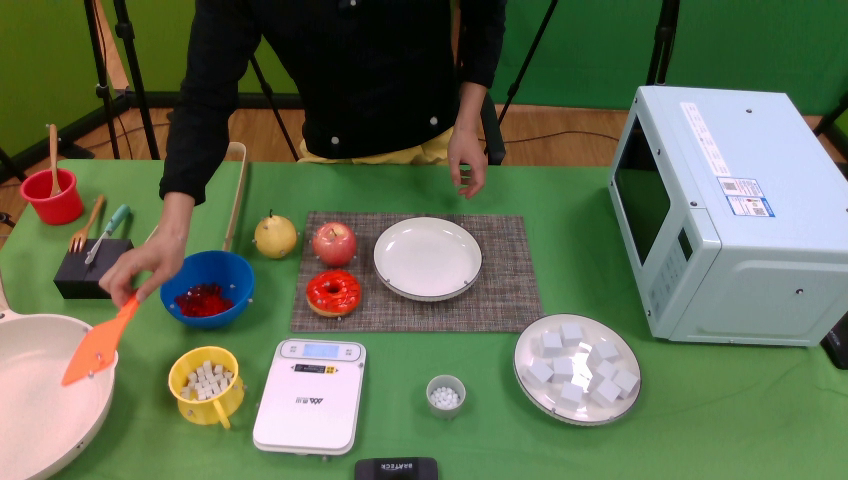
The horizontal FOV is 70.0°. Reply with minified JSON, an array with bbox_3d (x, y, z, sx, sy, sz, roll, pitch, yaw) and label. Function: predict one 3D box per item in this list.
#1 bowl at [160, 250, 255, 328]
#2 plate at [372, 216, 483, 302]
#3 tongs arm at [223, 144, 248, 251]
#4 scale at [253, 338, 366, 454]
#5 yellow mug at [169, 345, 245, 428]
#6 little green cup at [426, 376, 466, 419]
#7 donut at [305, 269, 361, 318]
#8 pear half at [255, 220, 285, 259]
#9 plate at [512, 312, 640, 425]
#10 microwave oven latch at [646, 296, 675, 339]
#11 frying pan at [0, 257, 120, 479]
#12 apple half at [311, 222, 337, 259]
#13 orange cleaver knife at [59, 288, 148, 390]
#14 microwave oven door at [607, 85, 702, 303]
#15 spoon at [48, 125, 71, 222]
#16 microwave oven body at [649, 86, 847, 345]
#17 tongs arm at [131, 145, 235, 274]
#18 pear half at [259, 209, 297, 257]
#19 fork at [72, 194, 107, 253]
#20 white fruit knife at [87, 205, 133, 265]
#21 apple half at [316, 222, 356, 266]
[{"bbox_3d":[-0.362,0.098,1.040,0.151,0.077,0.150,2,45,-2],"label":"bowl"},{"bbox_3d":[0.006,0.038,1.145,0.209,0.038,0.208,2,46,-2],"label":"plate"},{"bbox_3d":[-0.398,-0.072,1.233,0.051,0.027,0.382,-3,45,0],"label":"tongs arm"},{"bbox_3d":[-0.175,0.236,0.951,0.149,0.032,0.199,4,45,0],"label":"scale"},{"bbox_3d":[-0.322,0.230,0.922,0.100,0.064,0.130,-24,53,-25],"label":"yellow mug"},{"bbox_3d":[0.033,0.248,0.950,0.061,0.039,0.061,2,46,-2],"label":"little green cup"},{"bbox_3d":[-0.160,0.094,1.075,0.099,0.048,0.098,4,46,-3],"label":"donut"},{"bbox_3d":[-0.293,0.003,1.127,0.070,0.088,0.031,25,49,16],"label":"pear half"},{"bbox_3d":[0.246,0.213,0.999,0.208,0.039,0.206,2,46,-2],"label":"plate"},{"bbox_3d":[0.412,0.134,1.061,0.030,0.029,0.078,4,45,1],"label":"microwave oven latch"},{"bbox_3d":[-0.647,0.164,0.936,0.307,0.103,0.485,-19,58,-22],"label":"frying pan"},{"bbox_3d":[-0.190,-0.001,1.143,0.032,0.081,0.081,28,51,18],"label":"apple half"},{"bbox_3d":[-0.445,0.133,0.852,0.077,0.012,0.210,-15,29,0],"label":"orange cleaver knife"},{"bbox_3d":[0.423,-0.094,1.140,0.039,0.245,0.353,2,46,-1],"label":"microwave oven door"},{"bbox_3d":[-0.718,-0.131,1.188,0.041,0.021,0.193,-3,90,-7],"label":"spoon"},{"bbox_3d":[0.567,-0.053,1.118,0.326,0.261,0.439,2,45,-1],"label":"microwave oven body"},{"bbox_3d":[-0.484,-0.076,1.236,0.028,0.028,0.385,5,45,13],"label":"tongs arm"},{"bbox_3d":[-0.273,-0.024,1.141,0.076,0.110,0.056,28,51,16],"label":"pear half"},{"bbox_3d":[-0.634,-0.035,1.158,0.028,0.019,0.206,-8,32,-8],"label":"fork"},{"bbox_3d":[-0.584,-0.013,1.129,0.016,0.027,0.206,0,31,-5],"label":"white fruit knife"},{"bbox_3d":[-0.157,0.015,1.132,0.053,0.075,0.080,28,47,18],"label":"apple half"}]
